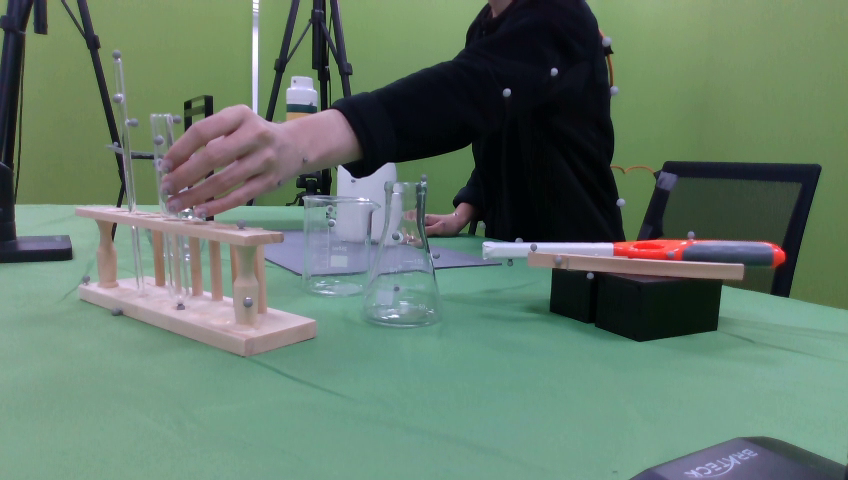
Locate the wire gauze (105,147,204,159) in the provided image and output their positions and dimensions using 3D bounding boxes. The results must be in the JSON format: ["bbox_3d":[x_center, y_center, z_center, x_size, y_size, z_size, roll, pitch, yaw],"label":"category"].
[{"bbox_3d":[-0.408,-0.131,0.929,0.125,0.011,0.121,2,6,-11],"label":"wire gauze"}]

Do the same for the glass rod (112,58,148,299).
[{"bbox_3d":[-0.238,-0.044,0.491,0.008,0.199,0.008,1,15,0],"label":"glass rod"}]

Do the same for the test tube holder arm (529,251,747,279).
[{"bbox_3d":[0.182,0.022,0.523,0.178,0.015,0.013,3,7,12],"label":"test tube holder arm"}]

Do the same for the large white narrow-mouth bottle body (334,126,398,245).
[{"bbox_3d":[-0.096,-0.094,1.023,0.102,0.194,0.102,4,7,0],"label":"large white narrow-mouth bottle body"}]

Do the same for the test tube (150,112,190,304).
[{"bbox_3d":[-0.197,-0.023,0.470,0.017,0.150,0.017,-1,11,1],"label":"test tube"}]

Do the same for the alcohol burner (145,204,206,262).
[{"bbox_3d":[-0.322,-0.032,0.788,0.078,0.119,0.078,1,7,0],"label":"alcohol burner"}]

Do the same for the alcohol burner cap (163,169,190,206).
[{"bbox_3d":[-0.321,-0.068,0.782,0.034,0.048,0.034,1,7,0],"label":"alcohol burner cap"}]

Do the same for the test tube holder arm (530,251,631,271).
[{"bbox_3d":[0.139,0.019,0.538,0.087,0.015,0.010,3,7,13],"label":"test tube holder arm"}]

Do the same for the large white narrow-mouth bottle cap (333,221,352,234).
[{"bbox_3d":[-0.152,-0.024,1.134,0.038,0.024,0.037,4,7,0],"label":"large white narrow-mouth bottle cap"}]

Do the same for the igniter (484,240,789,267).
[{"bbox_3d":[0.197,0.012,0.585,0.276,0.025,0.057,1,5,12],"label":"igniter"}]

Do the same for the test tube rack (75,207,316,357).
[{"bbox_3d":[-0.197,0.023,0.499,0.241,0.085,0.067,8,9,36],"label":"test tube rack"}]

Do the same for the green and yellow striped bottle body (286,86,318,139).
[{"bbox_3d":[-0.251,-0.270,1.245,0.063,0.119,0.063,2,7,0],"label":"green and yellow striped bottle body"}]

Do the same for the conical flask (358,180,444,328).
[{"bbox_3d":[-0.017,0.010,0.522,0.075,0.122,0.075,2,8,0],"label":"conical flask"}]

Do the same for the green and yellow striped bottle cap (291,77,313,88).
[{"bbox_3d":[-0.250,-0.321,1.237,0.045,0.020,0.045,3,6,0],"label":"green and yellow striped bottle cap"}]

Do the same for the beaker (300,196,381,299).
[{"bbox_3d":[-0.087,0.006,0.626,0.084,0.100,0.074,1,7,-17],"label":"beaker"}]

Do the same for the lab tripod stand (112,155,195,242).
[{"bbox_3d":[-0.405,-0.064,0.931,0.148,0.131,0.148,1,6,0],"label":"lab tripod stand"}]
